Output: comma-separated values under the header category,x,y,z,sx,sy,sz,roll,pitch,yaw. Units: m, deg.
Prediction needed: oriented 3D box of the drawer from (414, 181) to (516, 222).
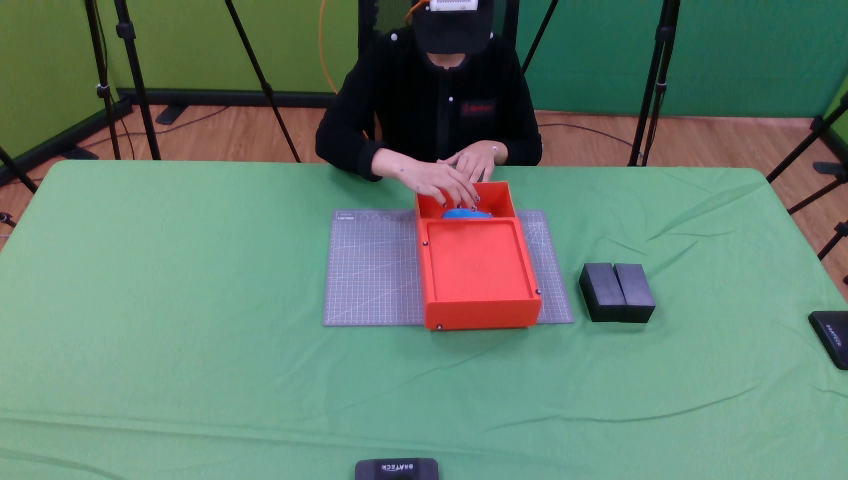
category,x,y,z,sx,sy,sz,roll,pitch,yaw
drawer,0.084,-0.025,1.187,0.195,0.073,0.210,-1,45,-6

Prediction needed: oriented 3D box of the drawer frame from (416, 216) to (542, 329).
category,x,y,z,sx,sy,sz,roll,pitch,yaw
drawer frame,0.092,0.053,1.104,0.202,0.083,0.212,-1,45,-6

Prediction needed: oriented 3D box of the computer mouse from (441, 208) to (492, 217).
category,x,y,z,sx,sy,sz,roll,pitch,yaw
computer mouse,0.091,-0.034,1.216,0.117,0.041,0.062,3,40,-7
